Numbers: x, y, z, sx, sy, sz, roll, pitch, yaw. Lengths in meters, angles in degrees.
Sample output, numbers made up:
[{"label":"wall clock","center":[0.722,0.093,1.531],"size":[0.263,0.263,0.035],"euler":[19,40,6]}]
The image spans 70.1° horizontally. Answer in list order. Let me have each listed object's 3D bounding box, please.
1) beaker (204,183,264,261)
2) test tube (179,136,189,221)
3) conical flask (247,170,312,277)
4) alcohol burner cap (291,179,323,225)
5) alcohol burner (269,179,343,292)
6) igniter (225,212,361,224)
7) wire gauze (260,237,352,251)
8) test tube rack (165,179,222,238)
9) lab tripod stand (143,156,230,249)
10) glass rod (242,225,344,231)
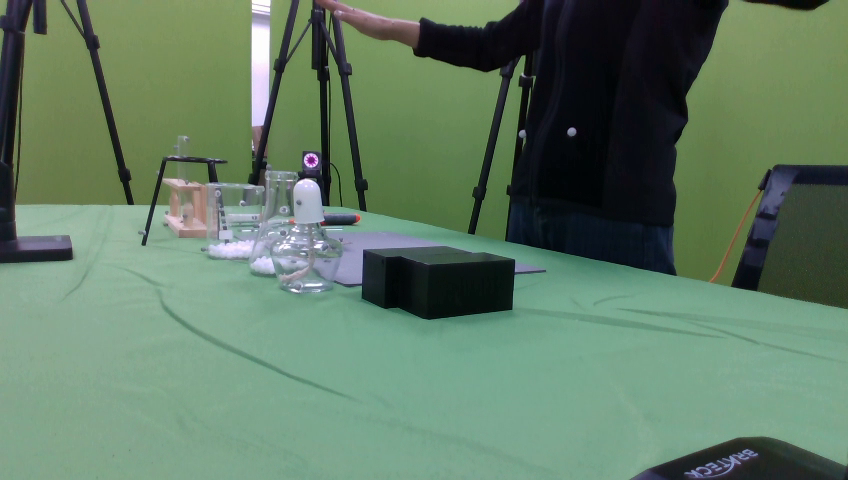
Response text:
[{"label":"beaker","center":[-0.254,-0.026,0.817],"size":[0.073,0.100,0.084],"euler":[9,9,39]},{"label":"test tube","center":[-0.425,-0.108,1.070],"size":[0.017,0.150,0.017],"euler":[4,9,0]},{"label":"conical flask","center":[-0.170,-0.021,0.717],"size":[0.075,0.122,0.075],"euler":[2,7,0]},{"label":"alcohol burner cap","center":[-0.124,-0.040,0.632],"size":[0.034,0.048,0.034],"euler":[-3,10,1]},{"label":"alcohol burner","center":[-0.124,-0.005,0.637],"size":[0.078,0.119,0.078],"euler":[4,8,0]},{"label":"igniter","center":[-0.262,-0.044,1.240],"size":[0.278,0.025,0.057],"euler":[-2,-1,-31]},{"label":"wire gauze","center":[-0.184,0.004,0.938],"size":[0.122,0.011,0.124],"euler":[-1,5,-24]},{"label":"test tube rack","center":[-0.423,-0.062,1.098],"size":[0.067,0.085,0.241],"euler":[-2,9,-28]},{"label":"lab tripod stand","center":[-0.338,-0.058,0.908],"size":[0.148,0.131,0.148],"euler":[4,7,0]},{"label":"glass rod","center":[-0.246,-0.023,1.154],"size":[0.201,0.008,0.008],"euler":[-3,8,-31]}]
